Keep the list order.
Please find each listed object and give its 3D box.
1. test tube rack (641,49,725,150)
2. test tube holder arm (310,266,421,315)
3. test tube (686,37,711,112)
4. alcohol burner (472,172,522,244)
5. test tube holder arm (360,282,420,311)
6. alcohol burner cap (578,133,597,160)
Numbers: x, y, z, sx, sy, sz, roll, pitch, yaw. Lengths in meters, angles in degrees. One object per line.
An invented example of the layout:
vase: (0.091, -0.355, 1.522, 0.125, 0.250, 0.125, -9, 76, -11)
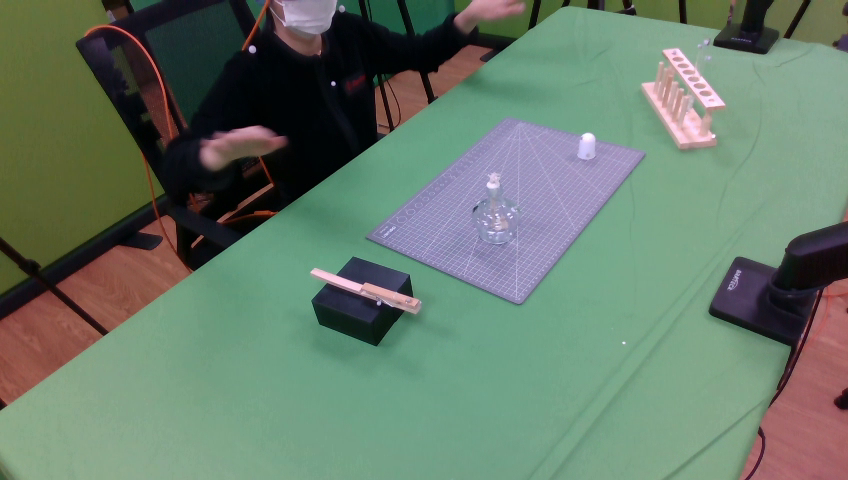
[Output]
test tube rack: (0.495, -0.279, 1.175, 0.067, 0.085, 0.241, -5, 41, 3)
test tube holder arm: (-0.084, 0.067, 0.833, 0.177, 0.013, 0.015, 17, 47, 25)
test tube: (0.509, -0.306, 1.128, 0.017, 0.151, 0.017, -3, 45, 3)
alcohol burner: (0.112, -0.053, 0.942, 0.078, 0.119, 0.077, -6, 40, 5)
test tube holder arm: (-0.046, 0.075, 0.811, 0.087, 0.010, 0.015, 17, 47, 25)
alcohol burner cap: (0.301, -0.174, 1.111, 0.034, 0.048, 0.033, -5, 40, 4)
